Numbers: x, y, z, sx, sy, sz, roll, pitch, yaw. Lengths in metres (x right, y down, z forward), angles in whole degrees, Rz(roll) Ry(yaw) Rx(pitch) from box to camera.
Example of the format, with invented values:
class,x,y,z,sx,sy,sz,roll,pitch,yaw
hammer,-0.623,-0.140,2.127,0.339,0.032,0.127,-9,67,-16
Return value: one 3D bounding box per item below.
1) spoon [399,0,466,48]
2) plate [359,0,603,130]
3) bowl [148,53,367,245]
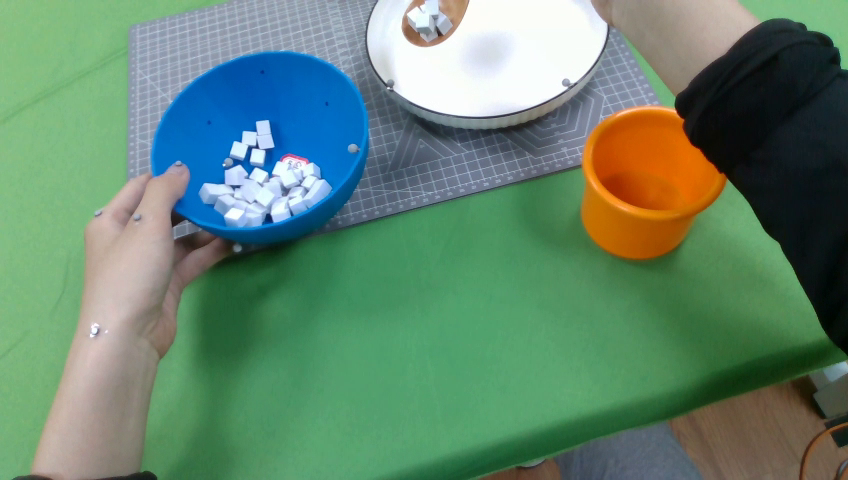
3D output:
class,x,y,z,sx,sy,sz,roll,pitch,yaw
spoon,0.050,-0.213,0.417,0.041,0.022,0.194,47,111,16
plate,0.048,-0.175,0.533,0.209,0.038,0.207,-2,62,5
bowl,-0.111,-0.054,0.446,0.151,0.077,0.150,-2,64,4
